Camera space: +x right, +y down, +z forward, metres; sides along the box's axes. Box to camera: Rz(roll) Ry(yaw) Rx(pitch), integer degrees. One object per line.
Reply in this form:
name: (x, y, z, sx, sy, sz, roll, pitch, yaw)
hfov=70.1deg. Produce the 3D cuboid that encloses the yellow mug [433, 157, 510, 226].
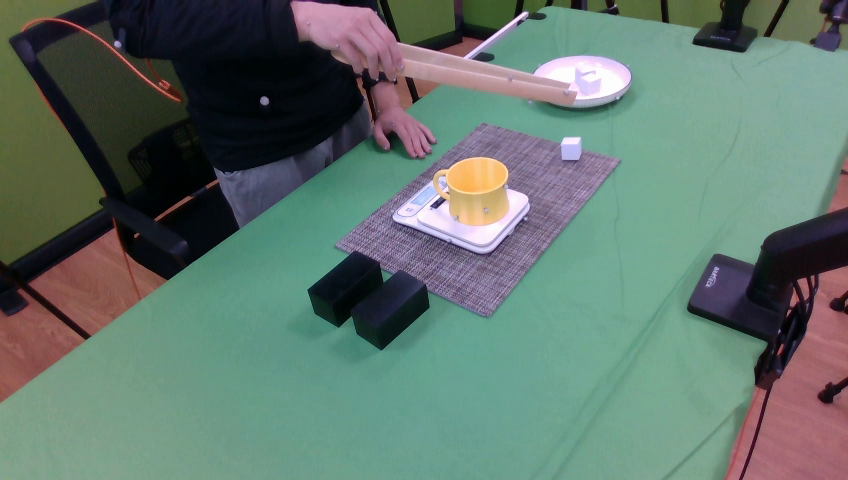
yellow mug: (0.072, -0.082, 0.968, 0.130, 0.064, 0.100, 13, 45, 24)

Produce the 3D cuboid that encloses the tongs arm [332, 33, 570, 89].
tongs arm: (0.049, -0.271, 0.936, 0.389, 0.028, 0.028, 7, 45, -14)

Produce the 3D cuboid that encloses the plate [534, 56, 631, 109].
plate: (0.336, -0.335, 1.301, 0.207, 0.039, 0.206, -4, 41, 4)

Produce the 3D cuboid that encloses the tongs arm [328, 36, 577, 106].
tongs arm: (0.051, -0.253, 0.917, 0.387, 0.026, 0.050, 5, 42, -17)

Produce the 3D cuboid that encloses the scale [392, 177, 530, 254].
scale: (0.060, -0.050, 1.006, 0.199, 0.032, 0.149, 22, 48, 30)
